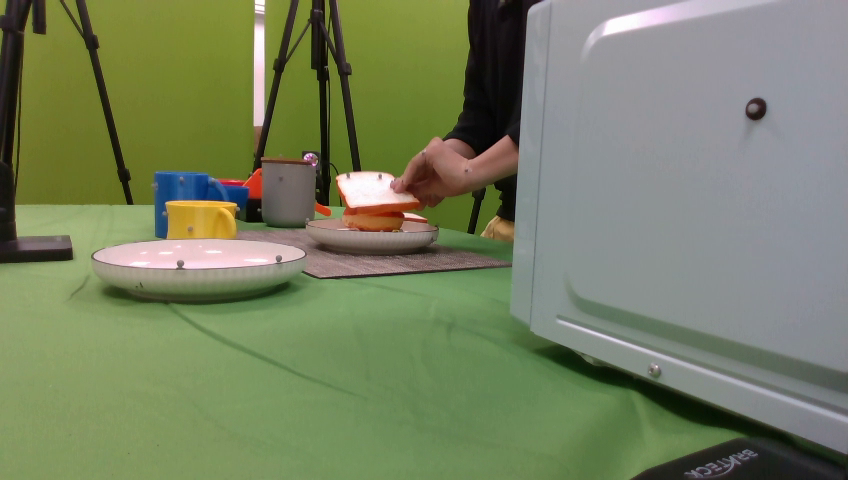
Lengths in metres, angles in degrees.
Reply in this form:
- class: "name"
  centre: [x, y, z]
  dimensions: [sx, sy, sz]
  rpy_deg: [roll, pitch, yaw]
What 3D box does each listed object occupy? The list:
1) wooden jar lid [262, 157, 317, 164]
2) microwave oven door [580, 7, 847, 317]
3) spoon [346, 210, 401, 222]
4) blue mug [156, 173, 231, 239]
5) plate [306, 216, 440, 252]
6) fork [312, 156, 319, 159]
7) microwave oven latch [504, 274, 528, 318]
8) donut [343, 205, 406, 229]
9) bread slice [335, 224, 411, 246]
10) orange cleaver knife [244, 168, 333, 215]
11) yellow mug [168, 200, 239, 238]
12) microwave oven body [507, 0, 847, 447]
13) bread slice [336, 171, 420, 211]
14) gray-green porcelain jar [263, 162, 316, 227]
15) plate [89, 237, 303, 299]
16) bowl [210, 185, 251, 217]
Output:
- class: "wooden jar lid"
  centre: [-0.269, -0.154, 1.208]
  dimensions: [0.108, 0.020, 0.108]
  rpy_deg: [3, 4, 0]
- class: "microwave oven door"
  centre: [0.295, -0.067, 0.570]
  dimensions: [0.358, 0.243, 0.039]
  rpy_deg: [-3, 8, -31]
- class: "spoon"
  centre: [-0.121, -0.060, 1.400]
  dimensions: [0.042, 0.021, 0.192]
  rpy_deg: [-28, 25, -37]
- class: "blue mug"
  centre: [-0.381, -0.057, 1.004]
  dimensions: [0.117, 0.106, 0.082]
  rpy_deg: [0, 8, -12]
- class: "plate"
  centre: [-0.080, -0.011, 0.949]
  dimensions: [0.209, 0.038, 0.209]
  rpy_deg: [2, 7, 0]
- class: "fork"
  centre: [-0.331, -0.144, 1.506]
  dimensions: [0.207, 0.018, 0.028]
  rpy_deg: [-42, -20, 22]
- class: "microwave oven latch"
  centre: [0.100, 0.041, 0.471]
  dimensions: [0.079, 0.029, 0.030]
  rpy_deg: [-1, 8, -28]
- class: "donut"
  centre: [-0.078, -0.035, 0.945]
  dimensions: [0.099, 0.048, 0.099]
  rpy_deg: [8, -1, 0]
- class: "bread slice"
  centre: [-0.074, -0.010, 0.938]
  dimensions: [0.105, 0.019, 0.131]
  rpy_deg: [-1, 10, -19]
- class: "orange cleaver knife"
  centre: [-0.300, -0.089, 1.352]
  dimensions: [0.212, 0.077, 0.012]
  rpy_deg: [28, -8, -34]
- class: "yellow mug"
  centre: [-0.320, -0.023, 0.904]
  dimensions: [0.130, 0.064, 0.100]
  rpy_deg: [9, 11, 36]
- class: "microwave oven body"
  centre: [0.331, -0.042, 0.425]
  dimensions: [0.444, 0.260, 0.324]
  rpy_deg: [-2, 8, -31]
- class: "bread slice"
  centre: [-0.081, -0.078, 0.930]
  dimensions: [0.107, 0.018, 0.133]
  rpy_deg: [-7, 26, -23]
- class: "gray-green porcelain jar"
  centre: [-0.271, -0.092, 1.217]
  dimensions: [0.106, 0.126, 0.106]
  rpy_deg: [2, 7, 0]
- class: "plate"
  centre: [-0.233, 0.029, 0.637]
  dimensions: [0.208, 0.039, 0.207]
  rpy_deg: [2, 7, 0]
- class: "bowl"
  centre: [-0.408, -0.064, 1.155]
  dimensions: [0.151, 0.077, 0.151]
  rpy_deg: [2, 8, 0]
